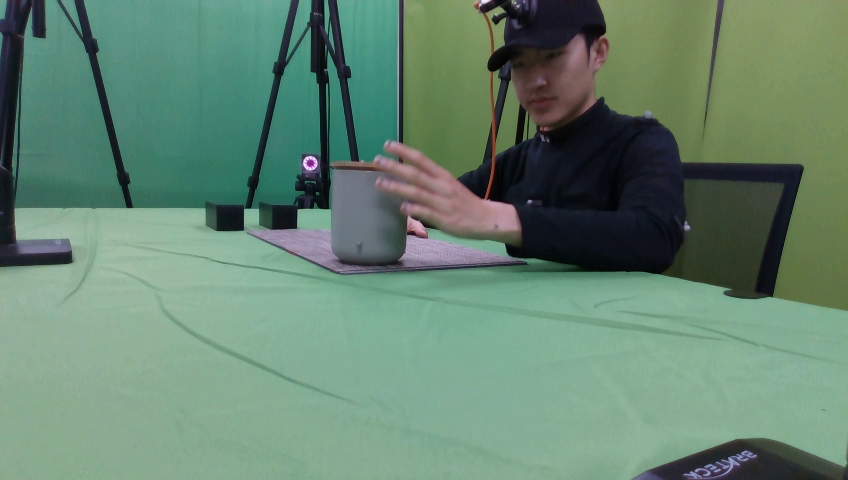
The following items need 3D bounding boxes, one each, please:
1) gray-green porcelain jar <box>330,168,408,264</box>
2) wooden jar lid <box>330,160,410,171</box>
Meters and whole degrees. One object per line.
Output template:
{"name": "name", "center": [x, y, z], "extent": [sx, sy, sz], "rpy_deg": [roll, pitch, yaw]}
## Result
{"name": "gray-green porcelain jar", "center": [-0.076, -0.034, 0.833], "extent": [0.106, 0.126, 0.106], "rpy_deg": [2, 7, 0]}
{"name": "wooden jar lid", "center": [-0.074, -0.096, 0.824], "extent": [0.108, 0.020, 0.108], "rpy_deg": [3, 3, 0]}
